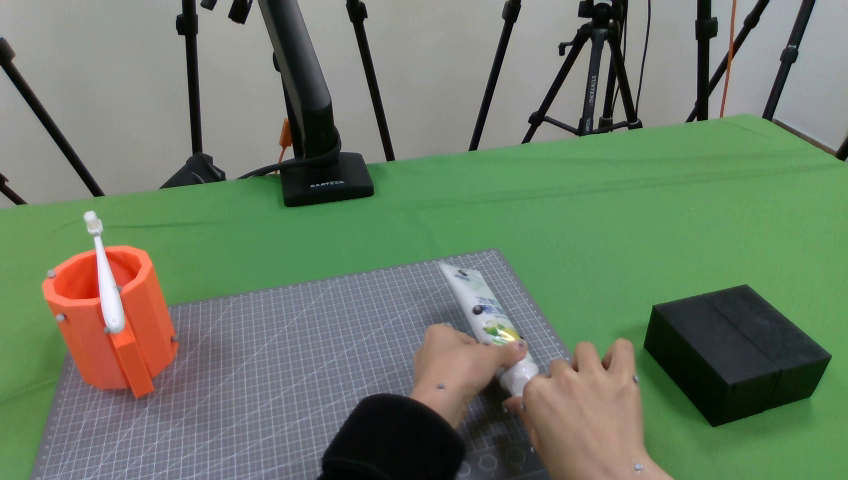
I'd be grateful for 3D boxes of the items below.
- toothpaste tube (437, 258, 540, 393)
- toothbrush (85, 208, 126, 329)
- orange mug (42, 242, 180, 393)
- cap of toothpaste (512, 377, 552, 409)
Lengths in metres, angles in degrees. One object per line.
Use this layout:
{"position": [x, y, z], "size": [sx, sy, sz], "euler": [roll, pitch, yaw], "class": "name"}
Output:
{"position": [0.062, 0.074, 0.548], "size": [0.055, 0.034, 0.163], "euler": [18, 30, -37], "class": "toothpaste tube"}
{"position": [-0.270, 0.018, 0.509], "size": [0.014, 0.017, 0.180], "euler": [-15, 37, -26], "class": "toothbrush"}
{"position": [-0.263, 0.071, 0.525], "size": [0.083, 0.101, 0.125], "euler": [-21, 35, -27], "class": "orange mug"}
{"position": [0.087, 0.124, 0.492], "size": [0.037, 0.037, 0.011], "euler": [-14, 49, -18], "class": "cap of toothpaste"}
